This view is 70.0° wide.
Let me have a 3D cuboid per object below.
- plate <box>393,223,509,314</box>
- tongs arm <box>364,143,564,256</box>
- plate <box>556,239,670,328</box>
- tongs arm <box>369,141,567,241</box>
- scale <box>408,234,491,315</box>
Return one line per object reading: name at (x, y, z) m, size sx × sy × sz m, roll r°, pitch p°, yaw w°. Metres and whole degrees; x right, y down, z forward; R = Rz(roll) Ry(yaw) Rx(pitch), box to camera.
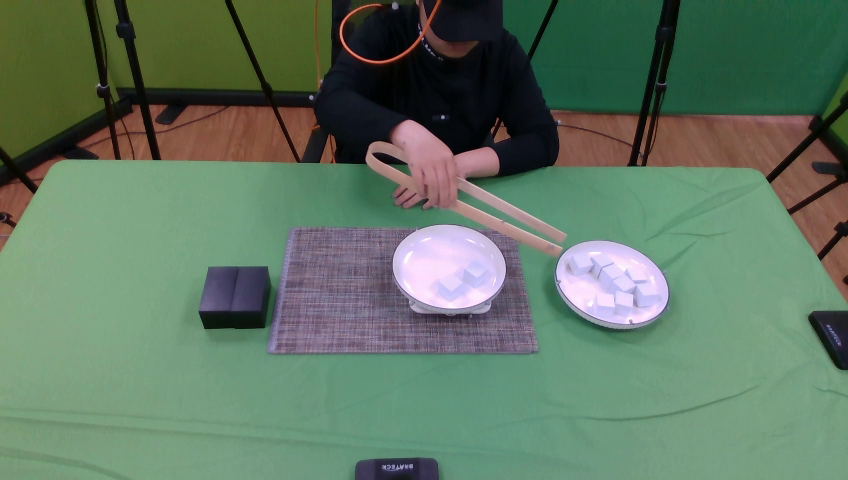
plate at (0.048, 0.053, 1.091) m, size 0.208 × 0.039 × 0.206 m, roll 1°, pitch 46°, yaw -1°
tongs arm at (0.069, -0.071, 1.069) m, size 0.385 × 0.026 × 0.050 m, roll 24°, pitch 47°, yaw -2°
plate at (0.347, 0.083, 1.130) m, size 0.209 × 0.038 × 0.208 m, roll 2°, pitch 47°, yaw -2°
tongs arm at (0.078, -0.088, 1.087) m, size 0.387 × 0.028 × 0.028 m, roll 26°, pitch 51°, yaw 0°
scale at (0.045, 0.055, 1.135) m, size 0.149 × 0.032 × 0.199 m, roll 1°, pitch 46°, yaw -3°
